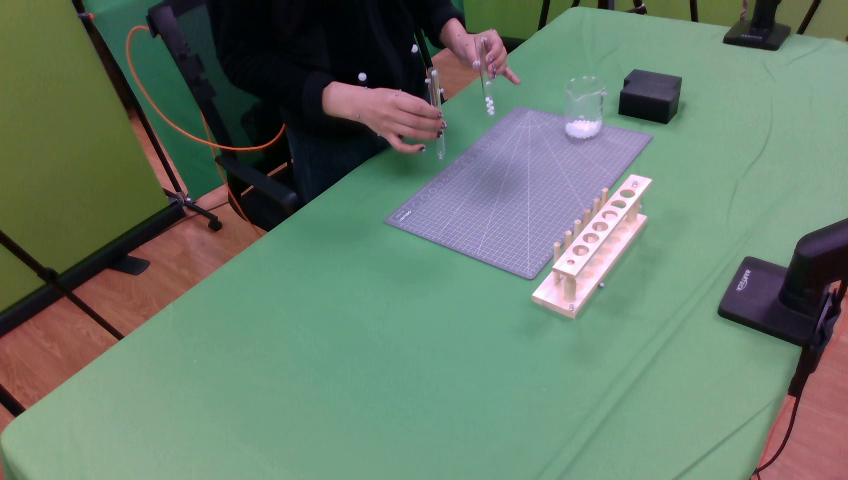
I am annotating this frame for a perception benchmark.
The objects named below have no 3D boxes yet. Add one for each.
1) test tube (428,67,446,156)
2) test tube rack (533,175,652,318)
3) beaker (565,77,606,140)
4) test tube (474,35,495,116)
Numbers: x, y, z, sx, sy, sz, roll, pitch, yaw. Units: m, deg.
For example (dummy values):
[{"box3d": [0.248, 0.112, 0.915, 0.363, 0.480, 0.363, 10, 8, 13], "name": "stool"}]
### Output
[{"box3d": [0.021, -0.201, 0.962, 0.017, 0.151, 0.017, -5, 37, 4], "name": "test tube"}, {"box3d": [0.250, -0.001, 0.889, 0.066, 0.085, 0.243, 22, 49, 33], "name": "test tube rack"}, {"box3d": [0.304, -0.247, 1.153, 0.073, 0.101, 0.084, 15, 47, 27], "name": "beaker"}, {"box3d": [0.108, -0.287, 1.065, 0.017, 0.151, 0.017, -10, 38, 8], "name": "test tube"}]
